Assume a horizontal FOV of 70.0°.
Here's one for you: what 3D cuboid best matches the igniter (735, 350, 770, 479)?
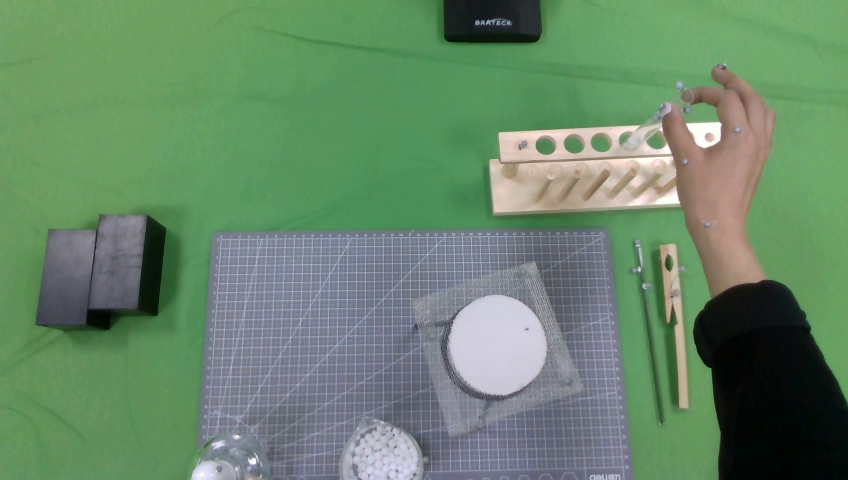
[{"bbox_3d":[0.336,0.252,0.625,0.057,0.025,0.275,13,75,-9],"label":"igniter"}]

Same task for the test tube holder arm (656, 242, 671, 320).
[{"bbox_3d":[0.271,0.046,0.681,0.010,0.015,0.087,-9,74,31],"label":"test tube holder arm"}]

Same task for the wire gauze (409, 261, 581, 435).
[{"bbox_3d":[0.060,0.091,0.530,0.121,0.011,0.124,-17,77,-5],"label":"wire gauze"}]

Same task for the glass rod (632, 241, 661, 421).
[{"bbox_3d":[0.245,0.097,0.670,0.008,0.008,0.198,-2,75,-3],"label":"glass rod"}]

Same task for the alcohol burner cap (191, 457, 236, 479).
[{"bbox_3d":[-0.188,0.207,0.534,0.034,0.048,0.033,1,66,-3],"label":"alcohol burner cap"}]

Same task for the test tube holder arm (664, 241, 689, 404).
[{"bbox_3d":[0.277,0.089,0.667,0.013,0.015,0.177,-10,74,31],"label":"test tube holder arm"}]

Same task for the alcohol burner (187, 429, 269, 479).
[{"bbox_3d":[-0.188,0.218,0.568,0.078,0.119,0.077,0,73,-1],"label":"alcohol burner"}]

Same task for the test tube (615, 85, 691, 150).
[{"bbox_3d":[0.218,-0.113,0.596,0.017,0.150,0.017,1,78,-5],"label":"test tube"}]

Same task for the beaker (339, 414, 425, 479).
[{"bbox_3d":[-0.040,0.208,0.583,0.074,0.100,0.083,-22,76,-7],"label":"beaker"}]

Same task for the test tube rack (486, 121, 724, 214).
[{"bbox_3d":[0.196,-0.079,0.674,0.242,0.085,0.066,-3,75,-2],"label":"test tube rack"}]

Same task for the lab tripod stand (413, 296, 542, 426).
[{"bbox_3d":[0.053,0.109,0.594,0.148,0.132,0.147,0,76,0],"label":"lab tripod stand"}]
